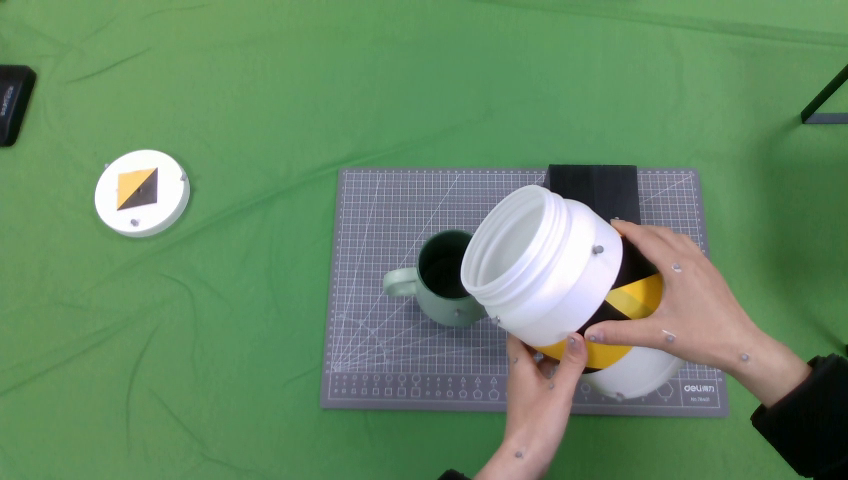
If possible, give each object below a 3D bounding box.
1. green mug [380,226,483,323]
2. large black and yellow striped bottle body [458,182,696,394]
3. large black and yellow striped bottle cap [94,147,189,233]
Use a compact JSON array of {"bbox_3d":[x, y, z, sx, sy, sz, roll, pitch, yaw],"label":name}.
[{"bbox_3d":[0.014,0.040,0.667,0.125,0.105,0.092,-6,71,0],"label":"green mug"},{"bbox_3d":[0.134,0.043,0.545,0.185,0.130,0.130,34,73,-20],"label":"large black and yellow striped bottle body"},{"bbox_3d":[-0.357,-0.064,0.765,0.115,0.019,0.114,-1,70,2],"label":"large black and yellow striped bottle cap"}]
